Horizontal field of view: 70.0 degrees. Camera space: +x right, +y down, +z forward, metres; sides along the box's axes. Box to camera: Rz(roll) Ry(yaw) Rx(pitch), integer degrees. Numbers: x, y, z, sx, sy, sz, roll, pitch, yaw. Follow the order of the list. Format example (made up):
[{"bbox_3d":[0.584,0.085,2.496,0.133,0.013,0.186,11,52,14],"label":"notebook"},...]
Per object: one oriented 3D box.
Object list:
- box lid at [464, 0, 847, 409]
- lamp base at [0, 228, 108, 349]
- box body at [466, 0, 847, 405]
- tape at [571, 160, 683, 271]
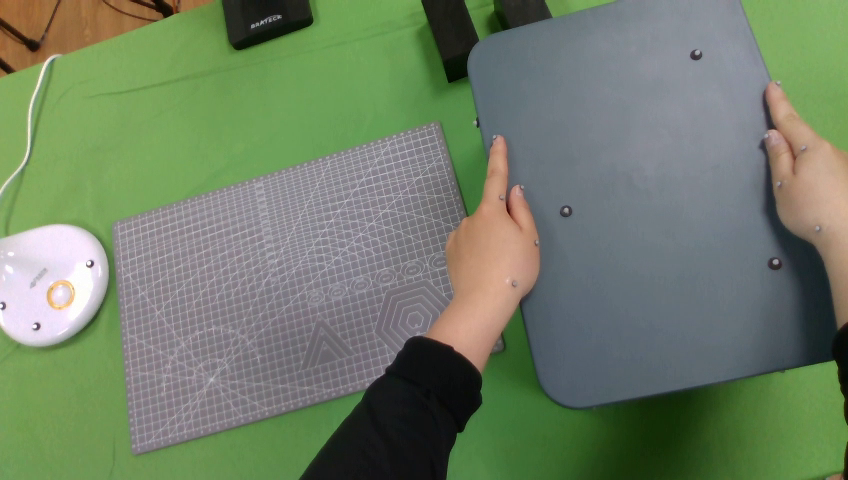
[{"bbox_3d":[0.192,-0.056,0.541,0.263,0.015,0.369,-13,72,6],"label":"box lid"},{"bbox_3d":[-0.506,0.033,0.710,0.178,0.181,0.160,21,78,19],"label":"lamp base"},{"bbox_3d":[0.206,-0.031,0.609,0.254,0.161,0.361,-13,71,6],"label":"box body"},{"bbox_3d":[0.218,-0.027,0.658,0.116,0.053,0.116,-3,73,9],"label":"tape"}]
